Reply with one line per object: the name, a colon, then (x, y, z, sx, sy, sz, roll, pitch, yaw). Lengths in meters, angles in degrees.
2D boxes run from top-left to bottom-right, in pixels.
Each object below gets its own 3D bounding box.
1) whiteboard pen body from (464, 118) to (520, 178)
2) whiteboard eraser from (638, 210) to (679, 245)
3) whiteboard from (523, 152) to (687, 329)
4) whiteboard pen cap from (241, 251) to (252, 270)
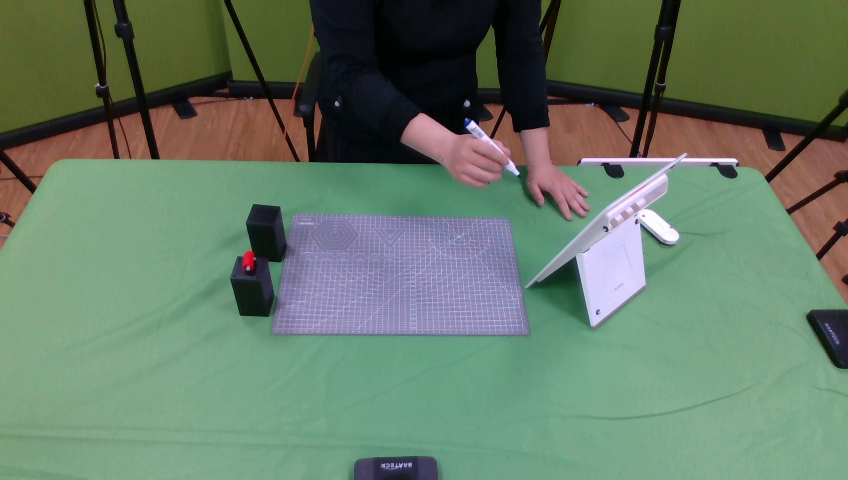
whiteboard pen body: (0.118, -0.155, 1.034, 0.141, 0.017, 0.017, 43, 45, -18)
whiteboard eraser: (0.485, -0.027, 1.260, 0.041, 0.019, 0.100, -21, 50, -21)
whiteboard: (0.346, 0.025, 1.046, 0.217, 0.306, 0.143, -30, 74, -29)
whiteboard pen cap: (-0.294, 0.033, 1.005, 0.017, 0.017, 0.032, -3, 44, -7)
